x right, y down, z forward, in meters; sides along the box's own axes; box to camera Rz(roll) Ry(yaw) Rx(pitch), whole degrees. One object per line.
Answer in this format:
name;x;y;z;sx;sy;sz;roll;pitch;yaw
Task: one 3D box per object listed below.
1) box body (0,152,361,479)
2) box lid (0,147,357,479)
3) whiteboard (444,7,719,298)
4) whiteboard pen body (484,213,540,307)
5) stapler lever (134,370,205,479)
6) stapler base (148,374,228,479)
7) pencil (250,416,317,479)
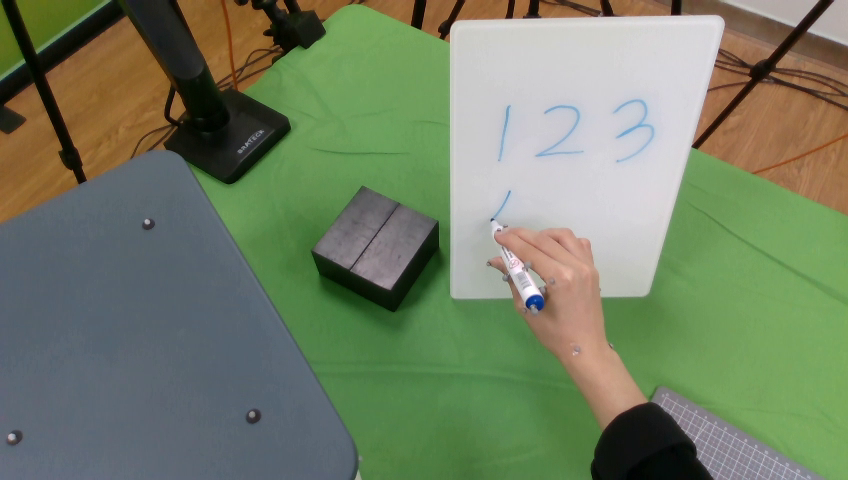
box body;-0.244;0.134;0.530;0.254;0.162;0.360;-31;63;-16
box lid;-0.248;0.094;0.467;0.263;0.015;0.368;-31;64;-16
whiteboard;0.129;-0.100;0.618;0.217;0.308;0.142;-1;39;2
whiteboard pen body;0.073;0.012;0.535;0.017;0.017;0.139;-11;34;-5
stapler lever;-0.234;0.175;0.548;0.026;0.040;0.117;2;59;24
stapler base;-0.227;0.186;0.568;0.041;0.025;0.129;2;61;24
pencil;-0.167;0.232;0.548;0.012;0.012;0.193;33;54;20
